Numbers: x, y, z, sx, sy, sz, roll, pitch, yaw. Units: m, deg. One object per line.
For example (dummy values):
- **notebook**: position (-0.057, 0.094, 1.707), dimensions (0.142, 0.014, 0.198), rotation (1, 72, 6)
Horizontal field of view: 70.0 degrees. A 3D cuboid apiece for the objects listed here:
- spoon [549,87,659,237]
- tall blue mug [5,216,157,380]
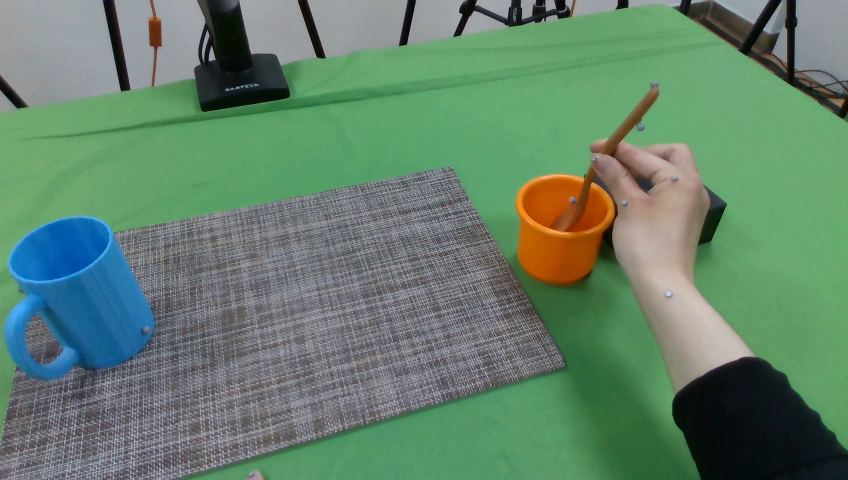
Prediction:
- **spoon**: position (0.150, -0.060, 0.526), dimensions (0.021, 0.195, 0.041), rotation (25, 57, 7)
- **tall blue mug**: position (-0.278, 0.055, 0.496), dimensions (0.078, 0.109, 0.106), rotation (-6, 44, -7)
